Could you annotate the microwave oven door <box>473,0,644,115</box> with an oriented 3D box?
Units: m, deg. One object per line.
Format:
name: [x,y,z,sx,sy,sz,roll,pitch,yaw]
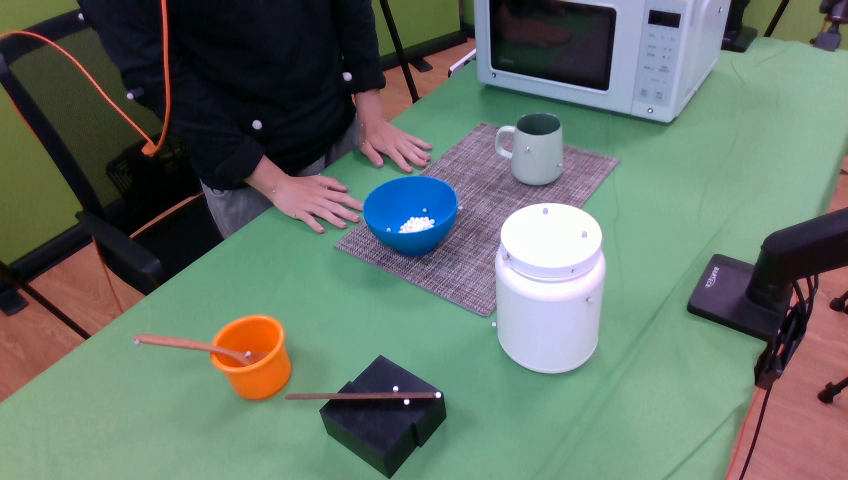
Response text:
microwave oven door: [0.257,-0.396,1.199,0.353,0.245,0.039,21,48,29]

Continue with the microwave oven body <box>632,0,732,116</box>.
microwave oven body: [0.377,-0.462,1.267,0.438,0.261,0.327,21,48,30]

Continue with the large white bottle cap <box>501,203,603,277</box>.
large white bottle cap: [0.146,-0.003,0.693,0.115,0.018,0.114,-4,41,4]

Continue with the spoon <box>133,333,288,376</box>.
spoon: [-0.258,0.137,0.747,0.021,0.195,0.041,-47,40,22]

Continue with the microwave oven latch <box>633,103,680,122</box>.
microwave oven latch: [0.444,-0.249,1.157,0.078,0.029,0.030,21,49,30]

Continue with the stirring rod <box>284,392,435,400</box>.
stirring rod: [-0.075,0.180,0.698,0.176,0.006,0.014,-2,6,6]

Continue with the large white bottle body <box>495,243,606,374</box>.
large white bottle body: [0.155,0.061,0.748,0.130,0.185,0.130,-4,40,4]

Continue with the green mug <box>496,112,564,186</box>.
green mug: [0.184,-0.161,1.061,0.124,0.105,0.092,15,46,24]

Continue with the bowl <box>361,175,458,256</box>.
bowl: [-0.019,-0.028,0.955,0.151,0.077,0.150,-4,40,4]
